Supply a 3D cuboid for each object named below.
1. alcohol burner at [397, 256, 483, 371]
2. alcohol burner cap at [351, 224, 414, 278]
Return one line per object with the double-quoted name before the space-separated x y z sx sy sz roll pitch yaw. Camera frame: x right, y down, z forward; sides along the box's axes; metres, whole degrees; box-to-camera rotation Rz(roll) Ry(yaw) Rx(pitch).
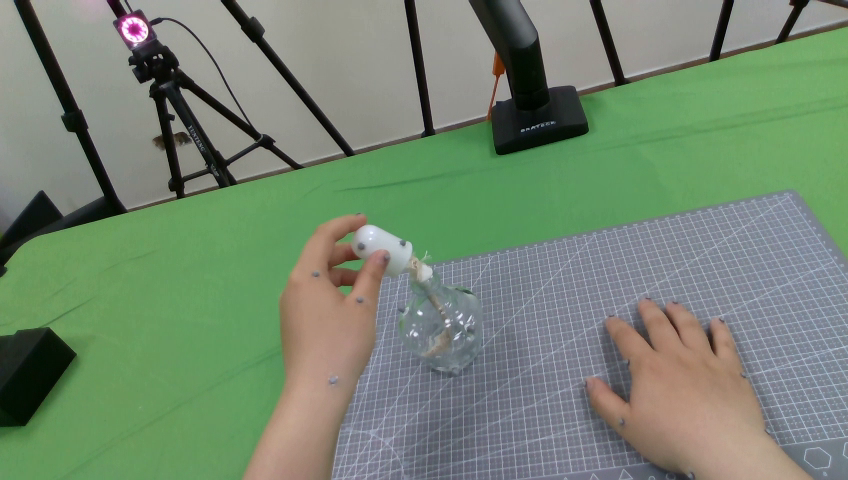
"alcohol burner" 0.009 0.058 0.522 0.078 0.120 0.077 -12 39 10
"alcohol burner cap" -0.034 0.005 0.475 0.034 0.048 0.033 -39 34 34
